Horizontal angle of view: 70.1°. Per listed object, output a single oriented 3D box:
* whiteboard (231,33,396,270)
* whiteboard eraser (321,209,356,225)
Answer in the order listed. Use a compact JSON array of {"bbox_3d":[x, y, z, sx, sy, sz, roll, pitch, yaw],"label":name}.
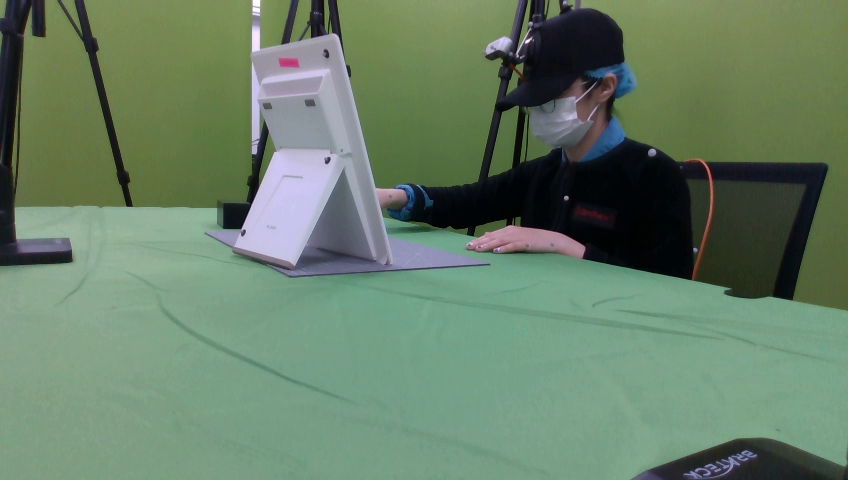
[{"bbox_3d":[-0.193,-0.094,0.805,0.144,0.305,0.216,-29,25,-35],"label":"whiteboard"},{"bbox_3d":[-0.166,-0.046,1.181,0.041,0.019,0.101,17,2,19],"label":"whiteboard eraser"}]
